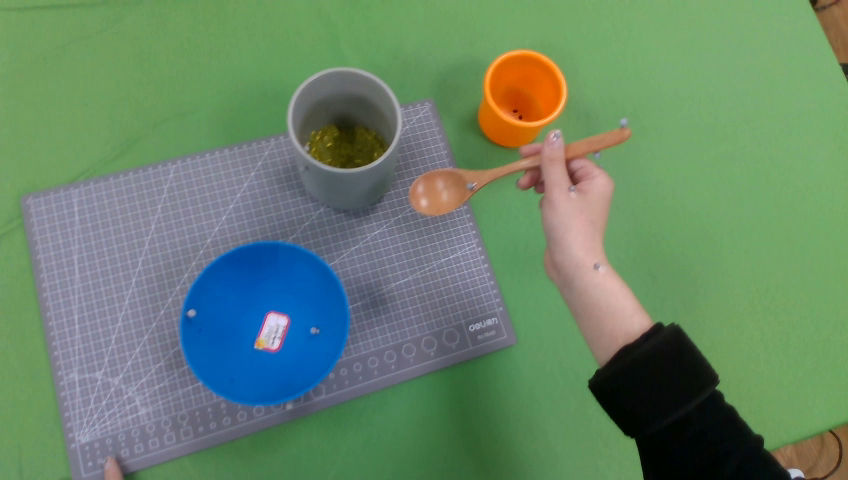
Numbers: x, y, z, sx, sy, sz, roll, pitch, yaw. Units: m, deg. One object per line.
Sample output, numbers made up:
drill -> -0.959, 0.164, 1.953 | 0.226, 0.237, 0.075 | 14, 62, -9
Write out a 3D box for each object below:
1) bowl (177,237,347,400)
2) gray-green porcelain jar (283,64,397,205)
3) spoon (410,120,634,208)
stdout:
bowl -> -0.149, 0.079, 0.586 | 0.152, 0.077, 0.150 | 2, 76, -7
gray-green porcelain jar -> -0.083, -0.098, 0.613 | 0.106, 0.127, 0.105 | 2, 75, -6
spoon -> 0.078, -0.067, 0.512 | 0.193, 0.022, 0.041 | -15, 81, 23
